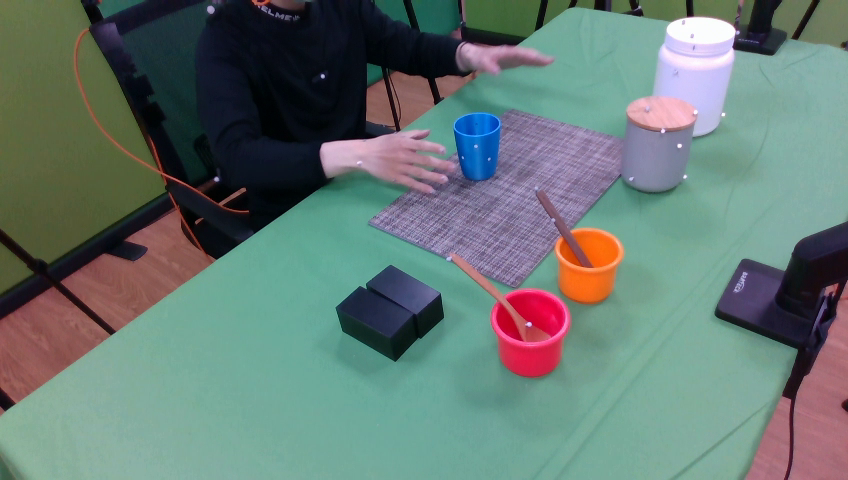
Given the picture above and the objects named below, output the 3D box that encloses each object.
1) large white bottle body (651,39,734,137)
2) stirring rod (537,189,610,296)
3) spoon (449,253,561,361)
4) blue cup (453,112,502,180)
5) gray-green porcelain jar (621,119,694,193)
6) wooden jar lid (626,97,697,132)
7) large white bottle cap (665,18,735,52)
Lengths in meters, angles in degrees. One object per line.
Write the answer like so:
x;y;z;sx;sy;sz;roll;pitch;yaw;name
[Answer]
0.496;-0.300;1.126;0.130;0.185;0.130;-4;41;4;large white bottle body
0.211;0.003;0.855;0.014;0.006;0.176;-32;88;-30;stirring rod
0.103;0.083;0.770;0.194;0.021;0.042;47;52;-7;spoon
0.098;-0.166;1.088;0.092;0.100;0.092;-3;40;3;blue cup
0.389;-0.152;1.016;0.106;0.127;0.105;-4;40;4;gray-green porcelain jar
0.381;-0.198;0.976;0.108;0.021;0.108;-2;40;3;wooden jar lid
0.488;-0.364;1.071;0.115;0.018;0.114;-4;41;4;large white bottle cap
